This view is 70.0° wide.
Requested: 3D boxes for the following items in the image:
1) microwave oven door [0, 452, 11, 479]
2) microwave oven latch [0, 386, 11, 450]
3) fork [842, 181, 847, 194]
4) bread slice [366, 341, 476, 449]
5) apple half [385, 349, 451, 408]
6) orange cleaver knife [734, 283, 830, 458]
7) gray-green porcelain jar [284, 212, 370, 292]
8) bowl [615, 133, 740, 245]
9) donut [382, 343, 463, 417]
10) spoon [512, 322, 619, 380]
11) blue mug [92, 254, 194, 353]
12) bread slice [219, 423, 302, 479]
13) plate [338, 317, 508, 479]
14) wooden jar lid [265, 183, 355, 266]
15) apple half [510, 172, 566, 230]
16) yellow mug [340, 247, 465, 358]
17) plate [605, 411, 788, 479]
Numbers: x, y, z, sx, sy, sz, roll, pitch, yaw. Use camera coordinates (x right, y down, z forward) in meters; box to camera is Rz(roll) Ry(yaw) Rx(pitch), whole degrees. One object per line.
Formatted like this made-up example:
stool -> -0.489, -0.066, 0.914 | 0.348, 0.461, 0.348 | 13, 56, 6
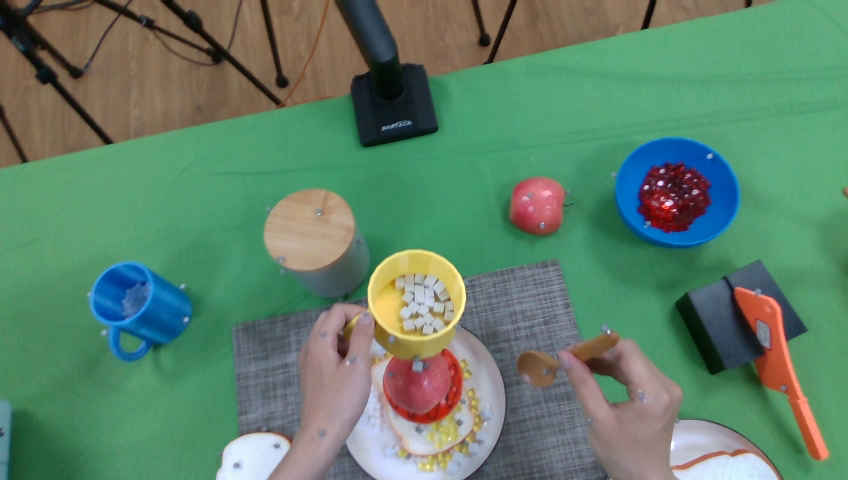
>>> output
microwave oven door -> -0.519, 0.391, 0.596 | 0.039, 0.245, 0.353 | -11, 69, 1
microwave oven latch -> -0.546, 0.226, 0.767 | 0.030, 0.030, 0.078 | -8, 70, 2
fork -> 0.552, -0.015, 0.721 | 0.209, 0.018, 0.028 | 31, 69, -28
bread slice -> 0.004, 0.187, 0.752 | 0.107, 0.018, 0.133 | -27, 69, -5
apple half -> -0.008, 0.151, 0.696 | 0.081, 0.033, 0.080 | -4, 69, 10
orange cleaver knife -> 0.415, 0.149, 0.708 | 0.012, 0.077, 0.211 | -21, 91, -10
gray-green porcelain jar -> -0.128, 0.006, 0.786 | 0.106, 0.127, 0.105 | -2, 69, 5
bowl -> 0.321, -0.055, 0.794 | 0.151, 0.077, 0.150 | -2, 70, 5
donut -> -0.001, 0.164, 0.729 | 0.099, 0.048, 0.098 | -2, 70, 5
spoon -> 0.121, 0.100, 0.535 | 0.021, 0.194, 0.041 | -38, 83, -19
blue mug -> -0.366, 0.089, 0.786 | 0.082, 0.106, 0.116 | 8, 71, 8
bread slice -> -0.203, 0.293, 0.742 | 0.105, 0.019, 0.130 | -4, 71, 2
plate -> -0.001, 0.190, 0.750 | 0.207, 0.039, 0.206 | -2, 70, 5
wooden jar lid -> -0.135, -0.017, 0.726 | 0.108, 0.021, 0.107 | -1, 67, 3
apple half -> 0.155, -0.059, 0.824 | 0.074, 0.054, 0.080 | 9, 71, 11
yellow mug -> -0.025, 0.071, 0.624 | 0.131, 0.064, 0.099 | -22, 67, -16
plate -> 0.306, 0.303, 0.685 | 0.209, 0.038, 0.207 | -2, 70, 5
